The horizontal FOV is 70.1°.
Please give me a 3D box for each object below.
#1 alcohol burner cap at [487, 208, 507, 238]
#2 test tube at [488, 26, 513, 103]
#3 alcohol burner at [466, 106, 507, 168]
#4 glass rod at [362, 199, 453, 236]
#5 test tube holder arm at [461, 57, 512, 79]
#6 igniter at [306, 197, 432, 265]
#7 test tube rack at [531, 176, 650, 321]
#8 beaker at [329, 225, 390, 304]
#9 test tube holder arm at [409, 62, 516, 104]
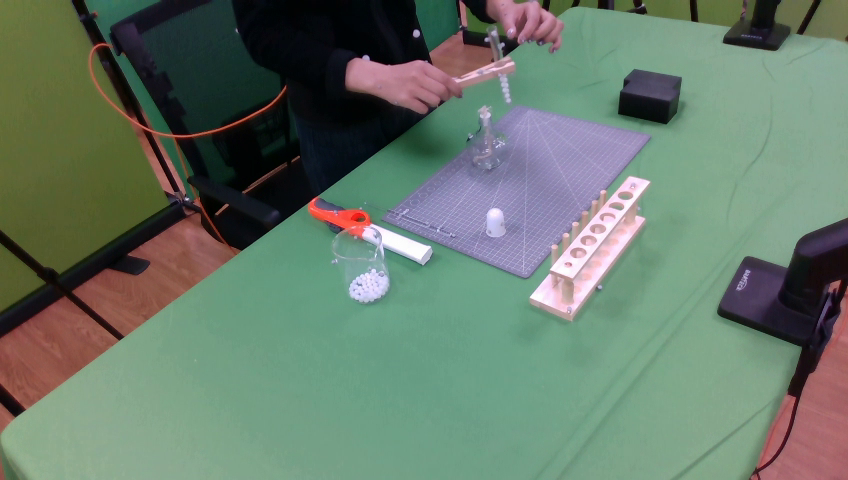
[{"bbox_3d":[0.116,-0.030,0.975,0.034,0.048,0.033,-6,40,5],"label":"alcohol burner cap"},{"bbox_3d":[0.125,-0.280,0.978,0.017,0.151,0.017,-9,53,13],"label":"test tube"},{"bbox_3d":[0.114,-0.193,1.112,0.078,0.119,0.077,-4,41,4],"label":"alcohol burner"},{"bbox_3d":[-0.031,-0.041,1.041,0.198,0.008,0.008,22,50,31],"label":"glass rod"},{"bbox_3d":[0.102,-0.274,0.981,0.088,0.015,0.010,-25,49,-6],"label":"test tube holder arm"},{"bbox_3d":[-0.102,-0.020,1.019,0.274,0.025,0.057,23,59,32],"label":"igniter"},{"bbox_3d":[0.246,0.002,0.884,0.066,0.085,0.243,22,49,32],"label":"test tube rack"},{"bbox_3d":[-0.089,0.040,0.890,0.074,0.101,0.083,-32,46,-24],"label":"beaker"},{"bbox_3d":[0.062,-0.254,0.976,0.178,0.015,0.013,-19,48,-1],"label":"test tube holder arm"}]
